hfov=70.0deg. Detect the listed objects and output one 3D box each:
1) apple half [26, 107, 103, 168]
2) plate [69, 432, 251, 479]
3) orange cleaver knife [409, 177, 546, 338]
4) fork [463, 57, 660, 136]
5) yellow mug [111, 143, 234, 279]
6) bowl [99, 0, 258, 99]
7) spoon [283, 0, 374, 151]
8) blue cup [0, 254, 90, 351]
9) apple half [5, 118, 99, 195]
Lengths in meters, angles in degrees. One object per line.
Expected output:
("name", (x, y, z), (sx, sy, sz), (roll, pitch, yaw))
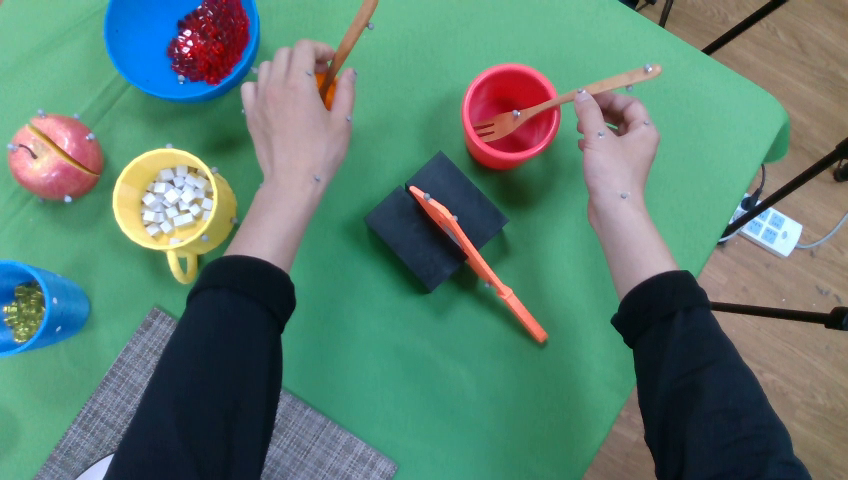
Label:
("apple half", (-0.351, -0.108, 0.611), (0.081, 0.081, 0.033), (39, 81, 3))
("plate", (-0.253, 0.289, 0.586), (0.209, 0.038, 0.208), (0, 84, -2))
("orange cleaver knife", (0.055, 0.020, 0.606), (0.012, 0.076, 0.213), (-42, 116, -4))
("fork", (0.125, -0.139, 0.593), (0.206, 0.019, 0.028), (-14, 69, 39))
("yellow mug", (-0.247, -0.026, 0.609), (0.100, 0.064, 0.130), (-9, 85, -2))
("bowl", (-0.239, -0.209, 0.623), (0.151, 0.077, 0.151), (0, 85, -2))
("spoon", (-0.092, -0.161, 0.588), (0.041, 0.194, 0.021), (44, 40, 6))
("blue cup", (-0.374, 0.060, 0.579), (0.093, 0.100, 0.092), (0, 84, -4))
("apple half", (-0.377, -0.075, 0.607), (0.081, 0.074, 0.053), (39, 87, -1))
